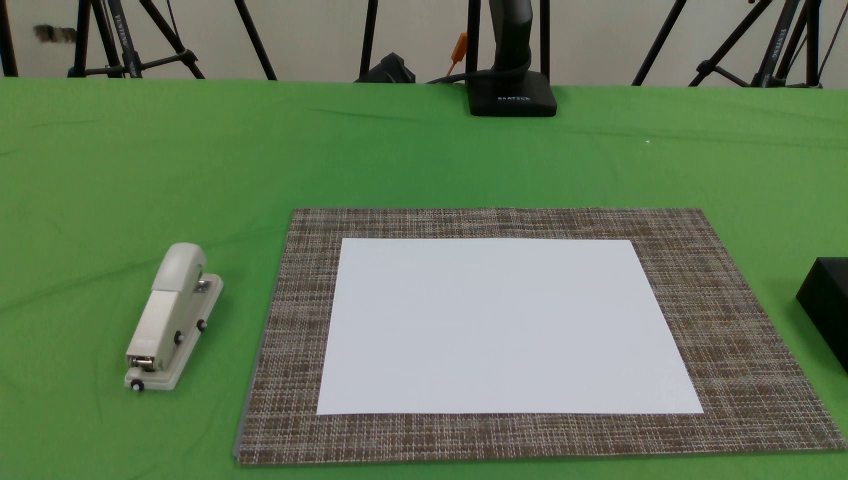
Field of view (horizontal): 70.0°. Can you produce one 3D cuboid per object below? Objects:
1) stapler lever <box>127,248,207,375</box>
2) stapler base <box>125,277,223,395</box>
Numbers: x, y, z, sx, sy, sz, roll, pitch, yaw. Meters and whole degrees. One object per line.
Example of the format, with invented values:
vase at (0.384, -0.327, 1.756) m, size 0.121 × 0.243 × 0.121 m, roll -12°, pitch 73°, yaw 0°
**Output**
stapler lever at (-0.211, 0.055, 0.500) m, size 0.027 × 0.040 × 0.117 m, roll 2°, pitch 41°, yaw 4°
stapler base at (-0.211, 0.073, 0.518) m, size 0.041 × 0.024 × 0.129 m, roll 2°, pitch 41°, yaw 4°
